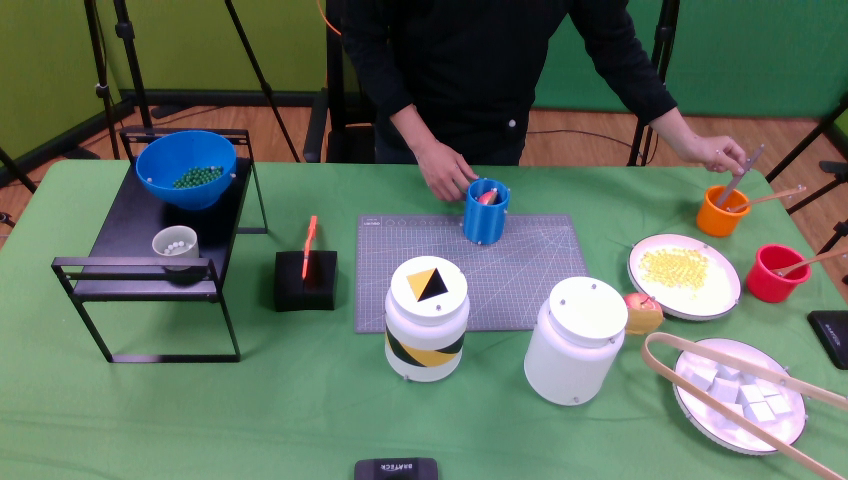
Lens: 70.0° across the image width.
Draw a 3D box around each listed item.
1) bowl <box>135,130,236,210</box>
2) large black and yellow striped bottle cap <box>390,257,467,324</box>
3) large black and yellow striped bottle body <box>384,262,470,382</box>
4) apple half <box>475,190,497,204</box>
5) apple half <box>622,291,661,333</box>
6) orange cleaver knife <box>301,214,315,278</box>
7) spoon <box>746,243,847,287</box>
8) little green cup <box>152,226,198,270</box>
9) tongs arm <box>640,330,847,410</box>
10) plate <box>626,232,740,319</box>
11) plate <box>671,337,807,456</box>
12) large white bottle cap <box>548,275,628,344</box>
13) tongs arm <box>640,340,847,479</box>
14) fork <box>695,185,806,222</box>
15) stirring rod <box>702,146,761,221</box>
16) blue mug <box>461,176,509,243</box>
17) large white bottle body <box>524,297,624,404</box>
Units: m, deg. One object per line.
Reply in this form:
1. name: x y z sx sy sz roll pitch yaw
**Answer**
1. bowl: -0.375 -0.102 0.978 0.151 0.077 0.150 2 46 -2
2. large black and yellow striped bottle cap: 0.007 0.072 0.898 0.115 0.019 0.114 2 47 -2
3. large black and yellow striped bottle body: 0.002 0.127 0.962 0.131 0.185 0.130 2 48 -2
4. apple half: 0.111 -0.067 1.200 0.032 0.081 0.081 31 51 14
5. apple half: 0.372 0.123 1.074 0.081 0.075 0.053 0 42 1
6. orange cleaver knife: -0.218 0.007 1.131 0.012 0.077 0.210 7 19 -9
7. spoon: 0.702 0.044 1.126 0.194 0.022 0.041 -29 38 30
8. little green cup: -0.364 0.013 0.894 0.061 0.039 0.061 3 46 -3
9. tongs arm: 0.543 0.225 0.969 0.384 0.026 0.050 22 52 13
10. plate: 0.488 0.071 1.157 0.209 0.038 0.208 3 46 -3
11. plate: 0.504 0.254 0.984 0.208 0.039 0.206 2 46 -2
12. large white bottle cap: 0.240 0.100 0.890 0.115 0.018 0.114 3 47 -3
13. tongs arm: 0.500 0.277 0.919 0.386 0.028 0.028 34 59 22
14. fork: 0.658 -0.074 1.229 0.207 0.019 0.028 -23 34 37
15. stirring rod: 0.628 -0.115 1.240 0.014 0.176 0.006 41 22 31
16. blue mug: 0.116 -0.070 1.211 0.082 0.106 0.115 -8 47 -12
17. large white bottle body: 0.235 0.159 0.952 0.131 0.185 0.130 2 47 -2
